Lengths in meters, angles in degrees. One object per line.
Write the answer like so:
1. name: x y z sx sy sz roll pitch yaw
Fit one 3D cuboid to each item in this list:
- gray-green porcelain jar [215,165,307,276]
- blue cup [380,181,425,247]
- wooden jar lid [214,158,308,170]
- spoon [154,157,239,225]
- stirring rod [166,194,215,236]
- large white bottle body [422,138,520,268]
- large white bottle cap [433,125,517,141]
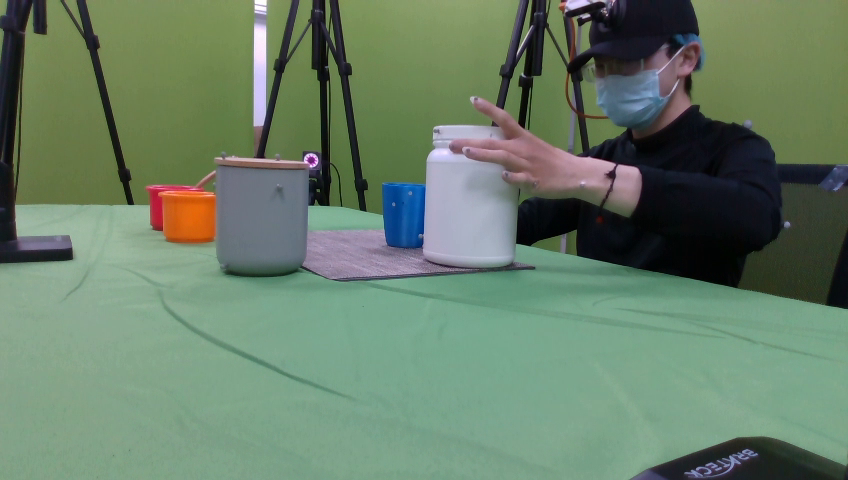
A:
1. gray-green porcelain jar: -0.195 -0.024 0.726 0.106 0.126 0.106 3 7 0
2. blue cup: -0.028 -0.042 0.979 0.093 0.100 0.092 2 9 0
3. wooden jar lid: -0.193 -0.085 0.719 0.108 0.020 0.108 2 9 0
4. spoon: -0.411 -0.092 1.104 0.041 0.022 0.194 12 56 52
5. stirring rod: -0.341 -0.066 0.967 0.176 0.006 0.014 -42 23 -9
6. large white bottle body: 0.066 -0.061 0.837 0.131 0.184 0.130 2 7 0
7. large white bottle cap: 0.069 -0.145 0.825 0.115 0.018 0.115 2 8 0
